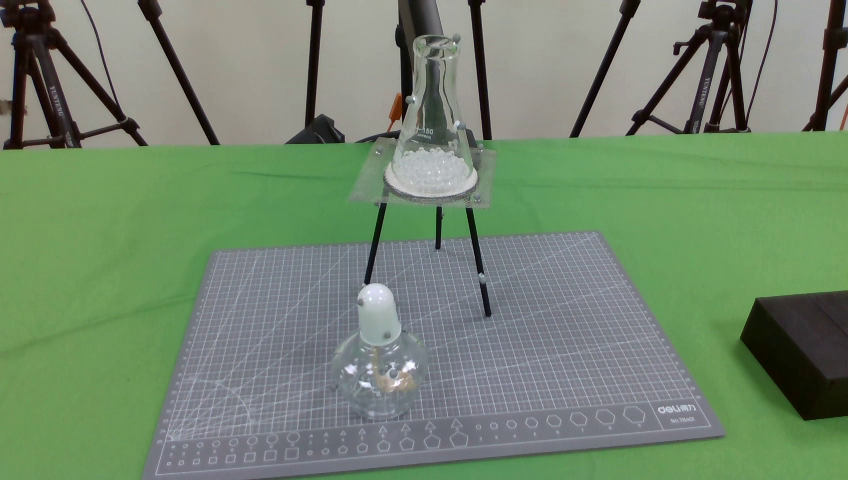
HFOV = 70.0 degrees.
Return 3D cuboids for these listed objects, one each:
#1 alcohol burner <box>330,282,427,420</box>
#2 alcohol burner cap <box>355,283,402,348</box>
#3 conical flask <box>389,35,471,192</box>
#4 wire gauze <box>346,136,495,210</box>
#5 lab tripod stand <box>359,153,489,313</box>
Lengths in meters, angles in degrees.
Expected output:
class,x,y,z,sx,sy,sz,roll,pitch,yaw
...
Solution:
class,x,y,z,sx,sy,sz,roll,pitch,yaw
alcohol burner,-0.036,0.083,0.477,0.078,0.120,0.077,0,33,0
alcohol burner cap,-0.036,0.054,0.456,0.034,0.048,0.033,-4,38,4
conical flask,0.007,-0.109,0.518,0.075,0.123,0.074,1,35,-1
wire gauze,0.002,-0.062,0.555,0.121,0.011,0.124,5,37,6
lab tripod stand,0.008,-0.007,0.592,0.148,0.132,0.147,3,34,-1
